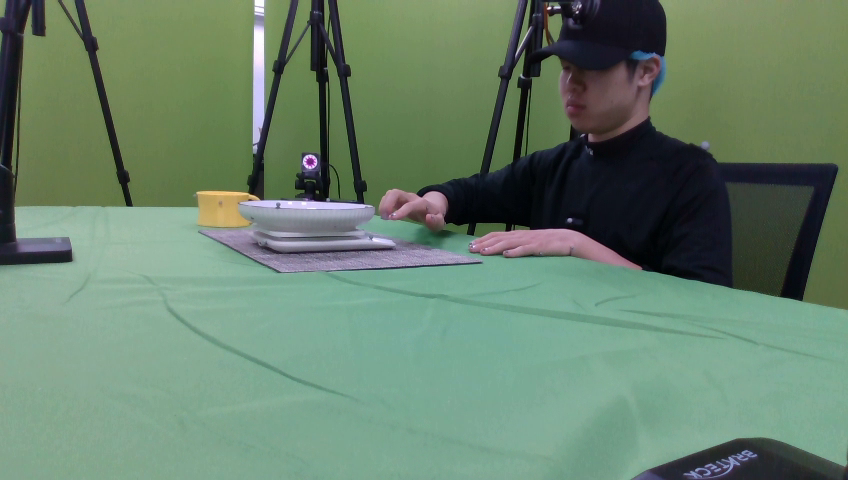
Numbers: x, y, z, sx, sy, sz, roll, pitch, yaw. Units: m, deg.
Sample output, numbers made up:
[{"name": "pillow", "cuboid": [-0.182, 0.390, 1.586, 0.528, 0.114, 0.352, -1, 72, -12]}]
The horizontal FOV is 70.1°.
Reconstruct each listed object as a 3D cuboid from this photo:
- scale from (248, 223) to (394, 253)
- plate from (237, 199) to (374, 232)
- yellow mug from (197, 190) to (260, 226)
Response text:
[{"name": "scale", "cuboid": [-0.162, -0.006, 0.954, 0.202, 0.031, 0.148, -2, 9, -32]}, {"name": "plate", "cuboid": [-0.183, -0.039, 0.941, 0.209, 0.038, 0.209, 3, 7, 0]}, {"name": "yellow mug", "cuboid": [-0.389, -0.065, 1.223, 0.131, 0.064, 0.099, -1, 8, -34]}]
